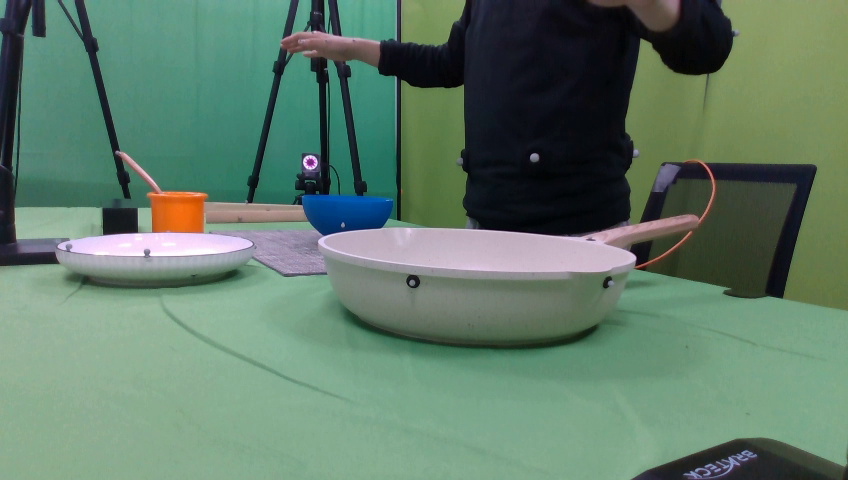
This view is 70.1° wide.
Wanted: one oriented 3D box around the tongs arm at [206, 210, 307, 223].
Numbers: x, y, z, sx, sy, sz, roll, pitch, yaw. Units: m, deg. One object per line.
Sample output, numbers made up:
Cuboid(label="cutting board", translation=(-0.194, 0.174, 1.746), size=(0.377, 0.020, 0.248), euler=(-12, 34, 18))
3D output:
Cuboid(label="tongs arm", translation=(-0.297, -0.057, 1.360), size=(0.390, 0.028, 0.028), euler=(-4, 7, -39))

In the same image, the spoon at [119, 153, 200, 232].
Cuboid(label="spoon", translation=(-0.439, -0.077, 1.001), size=(0.021, 0.193, 0.042), euler=(-43, -6, 22))

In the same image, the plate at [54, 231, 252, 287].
Cuboid(label="plate", translation=(-0.309, 0.020, 0.705), size=(0.208, 0.039, 0.207), euler=(3, 7, 0))

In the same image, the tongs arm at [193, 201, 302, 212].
Cuboid(label="tongs arm", translation=(-0.338, -0.072, 1.429), size=(0.387, 0.026, 0.050), euler=(0, 9, -26))

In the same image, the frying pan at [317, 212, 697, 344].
Cuboid(label="frying pan", translation=(0.133, 0.013, 0.629), size=(0.490, 0.102, 0.305), euler=(-12, 14, -31))

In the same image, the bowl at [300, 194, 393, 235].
Cuboid(label="bowl", translation=(-0.128, -0.034, 0.995), size=(0.151, 0.077, 0.151), euler=(2, 7, 0))
